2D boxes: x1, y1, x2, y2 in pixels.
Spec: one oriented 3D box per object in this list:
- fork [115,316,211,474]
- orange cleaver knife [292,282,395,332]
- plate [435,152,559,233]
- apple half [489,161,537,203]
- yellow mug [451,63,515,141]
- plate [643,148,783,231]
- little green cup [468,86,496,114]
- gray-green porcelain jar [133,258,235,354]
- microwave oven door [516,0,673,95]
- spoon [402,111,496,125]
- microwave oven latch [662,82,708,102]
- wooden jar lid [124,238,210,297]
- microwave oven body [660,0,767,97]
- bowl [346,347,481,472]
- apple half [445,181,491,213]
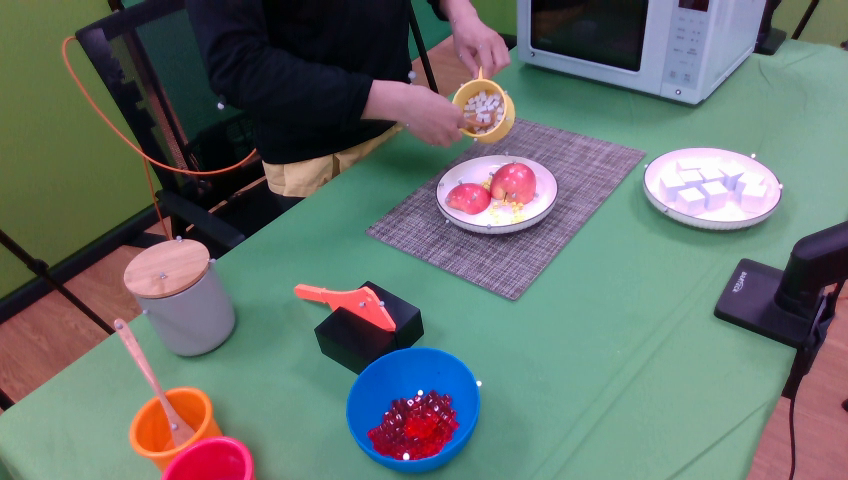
[{"bbox_3d":[-0.308,0.179,0.708,0.028,0.018,0.207,-30,89,-23],"label":"fork"},{"bbox_3d":[-0.116,0.091,0.835,0.209,0.077,0.012,2,32,48],"label":"orange cleaver knife"},{"bbox_3d":[0.124,-0.078,1.026,0.209,0.038,0.208,-4,40,4],"label":"plate"},{"bbox_3d":[0.154,-0.106,1.030,0.080,0.053,0.075,22,46,31],"label":"apple half"},{"bbox_3d":[0.104,-0.244,1.060,0.099,0.130,0.064,0,-1,19],"label":"yellow mug"},{"bbox_3d":[0.464,-0.080,0.986,0.207,0.039,0.206,-4,41,4],"label":"plate"},{"bbox_3d":[0.124,-0.298,1.285,0.061,0.039,0.061,-5,41,5],"label":"little green cup"},{"bbox_3d":[-0.327,0.086,0.836,0.106,0.127,0.105,-4,41,4],"label":"gray-green porcelain jar"},{"bbox_3d":[0.344,-0.458,1.257,0.353,0.245,0.039,26,51,33],"label":"microwave oven door"},{"bbox_3d":[0.044,-0.206,1.014,0.195,0.021,0.041,-9,25,-35],"label":"spoon"},{"bbox_3d":[0.517,-0.298,1.202,0.078,0.029,0.030,27,52,34],"label":"microwave oven latch"},{"bbox_3d":[-0.335,0.039,0.794,0.108,0.021,0.108,-2,40,2],"label":"wooden jar lid"},{"bbox_3d":[0.473,-0.516,1.313,0.438,0.261,0.327,26,51,34],"label":"microwave oven body"},{"bbox_3d":[-0.008,0.205,0.691,0.151,0.077,0.150,-4,40,4],"label":"bowl"},{"bbox_3d":[0.076,-0.083,1.029,0.081,0.033,0.081,-2,42,2],"label":"apple half"}]
